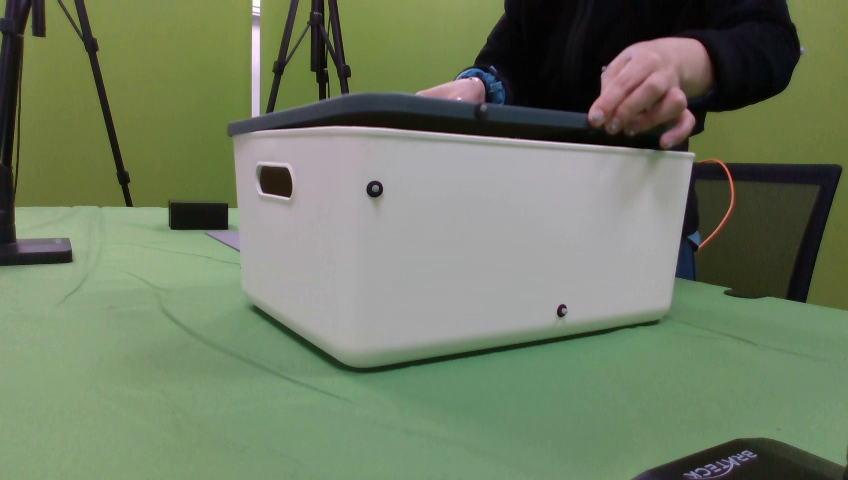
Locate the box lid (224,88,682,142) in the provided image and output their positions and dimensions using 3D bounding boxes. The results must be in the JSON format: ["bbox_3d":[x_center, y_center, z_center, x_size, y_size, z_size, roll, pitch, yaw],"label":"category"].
[{"bbox_3d":[0.030,-0.101,0.561,0.373,0.015,0.262,-4,6,-37],"label":"box lid"}]

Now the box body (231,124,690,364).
[{"bbox_3d":[0.031,-0.013,0.563,0.366,0.160,0.253,-3,8,-33],"label":"box body"}]
